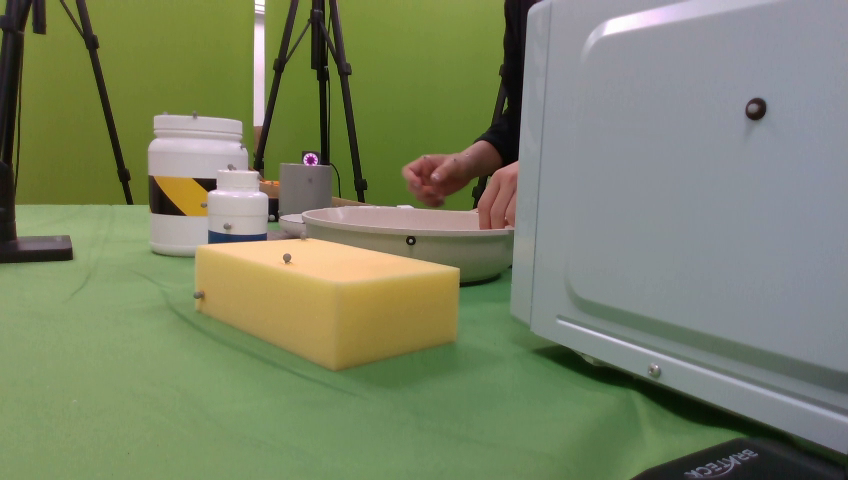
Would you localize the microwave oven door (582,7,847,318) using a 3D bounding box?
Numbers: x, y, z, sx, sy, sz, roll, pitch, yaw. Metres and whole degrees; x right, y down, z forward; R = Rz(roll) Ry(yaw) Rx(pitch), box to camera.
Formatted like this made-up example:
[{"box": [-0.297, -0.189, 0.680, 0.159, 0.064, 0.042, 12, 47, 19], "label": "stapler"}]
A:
[{"box": [0.295, -0.067, 0.569, 0.358, 0.243, 0.039, -3, 8, -31], "label": "microwave oven door"}]

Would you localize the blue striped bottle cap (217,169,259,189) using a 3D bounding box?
[{"box": [-0.202, -0.067, 0.656, 0.044, 0.020, 0.044, 0, 10, 0], "label": "blue striped bottle cap"}]

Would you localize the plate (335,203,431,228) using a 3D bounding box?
[{"box": [-0.089, -0.053, 1.309, 0.208, 0.039, 0.207, 2, 8, 0], "label": "plate"}]

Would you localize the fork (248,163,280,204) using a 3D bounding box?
[{"box": [-0.396, -0.143, 1.486, 0.028, 0.018, 0.208, 20, -26, 45], "label": "fork"}]

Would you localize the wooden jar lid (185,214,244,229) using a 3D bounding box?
[{"box": [-0.404, -0.037, 1.169, 0.108, 0.020, 0.108, 3, 7, 0], "label": "wooden jar lid"}]

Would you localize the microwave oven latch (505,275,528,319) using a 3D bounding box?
[{"box": [0.100, 0.041, 0.471, 0.079, 0.029, 0.030, -1, 7, -28], "label": "microwave oven latch"}]

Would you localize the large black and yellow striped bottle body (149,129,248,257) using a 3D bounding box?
[{"box": [-0.315, -0.075, 0.854, 0.131, 0.184, 0.130, 2, 7, 0], "label": "large black and yellow striped bottle body"}]

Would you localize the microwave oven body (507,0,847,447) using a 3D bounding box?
[{"box": [0.331, -0.042, 0.425, 0.444, 0.260, 0.324, -2, 8, -31], "label": "microwave oven body"}]

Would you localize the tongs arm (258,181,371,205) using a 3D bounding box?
[{"box": [-0.241, -0.095, 1.373, 0.387, 0.026, 0.050, 9, 0, -37], "label": "tongs arm"}]

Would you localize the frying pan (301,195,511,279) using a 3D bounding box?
[{"box": [0.050, -0.028, 0.864, 0.305, 0.102, 0.490, 8, 18, 35], "label": "frying pan"}]

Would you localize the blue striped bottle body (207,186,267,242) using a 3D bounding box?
[{"box": [-0.204, -0.016, 0.663, 0.063, 0.120, 0.063, 2, 7, 0], "label": "blue striped bottle body"}]

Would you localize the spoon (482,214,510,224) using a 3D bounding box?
[{"box": [0.076, -0.013, 0.794, 0.193, 0.021, 0.042, -24, -5, 11], "label": "spoon"}]

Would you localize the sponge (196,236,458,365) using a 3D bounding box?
[{"box": [-0.087, 0.039, 0.500, 0.206, 0.061, 0.119, 8, 9, 44], "label": "sponge"}]

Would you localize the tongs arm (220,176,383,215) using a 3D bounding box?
[{"box": [-0.285, -0.104, 1.445, 0.389, 0.027, 0.028, 9, -4, -23], "label": "tongs arm"}]

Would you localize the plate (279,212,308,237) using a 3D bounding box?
[{"box": [-0.139, -0.022, 1.021, 0.209, 0.038, 0.209, 2, 8, 0], "label": "plate"}]

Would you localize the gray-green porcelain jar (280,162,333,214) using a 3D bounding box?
[{"box": [-0.238, -0.092, 1.221, 0.106, 0.126, 0.106, 2, 7, 0], "label": "gray-green porcelain jar"}]

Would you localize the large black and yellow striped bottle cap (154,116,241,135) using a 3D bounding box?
[{"box": [-0.314, -0.158, 0.843, 0.115, 0.019, 0.115, 3, 7, 0], "label": "large black and yellow striped bottle cap"}]
